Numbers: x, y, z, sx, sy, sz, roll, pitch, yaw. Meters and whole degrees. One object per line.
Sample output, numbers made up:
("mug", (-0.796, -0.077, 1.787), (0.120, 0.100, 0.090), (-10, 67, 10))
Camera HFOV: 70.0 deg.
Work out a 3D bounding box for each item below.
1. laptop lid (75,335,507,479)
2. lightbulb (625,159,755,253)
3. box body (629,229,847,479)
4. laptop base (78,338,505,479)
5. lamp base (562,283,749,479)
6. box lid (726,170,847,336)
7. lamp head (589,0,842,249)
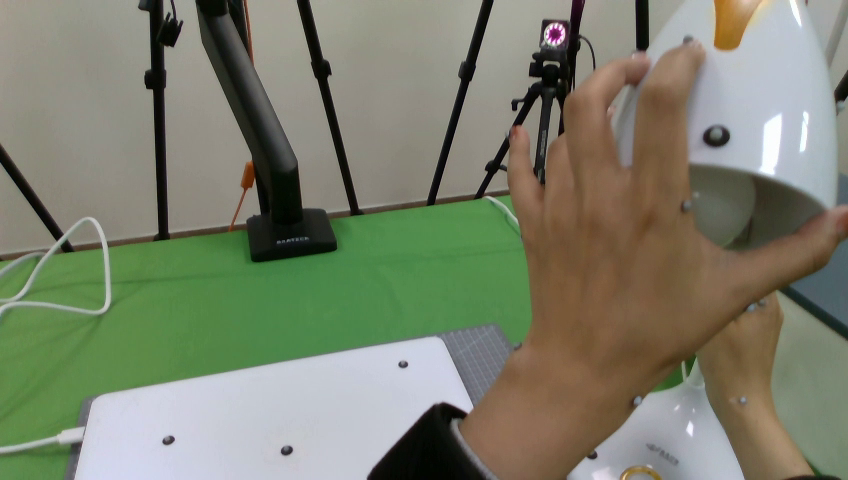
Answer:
("laptop lid", (-0.118, 0.188, 0.537), (0.358, 0.013, 0.239), (-7, 34, -13))
("lightbulb", (0.139, -0.046, 0.302), (0.059, 0.107, 0.059), (19, -5, 2))
("box body", (0.424, 0.060, 0.652), (0.255, 0.161, 0.360), (-9, 32, -16))
("laptop base", (-0.119, 0.197, 0.545), (0.355, 0.023, 0.233), (-7, 35, -14))
("lamp base", (0.212, 0.131, 0.507), (0.159, 0.181, 0.179), (20, 32, 27))
("box lid", (0.424, -0.005, 0.614), (0.264, 0.015, 0.367), (-8, 32, -16))
("lamp head", (0.153, -0.065, 0.310), (0.112, 0.113, 0.122), (13, 72, 19))
